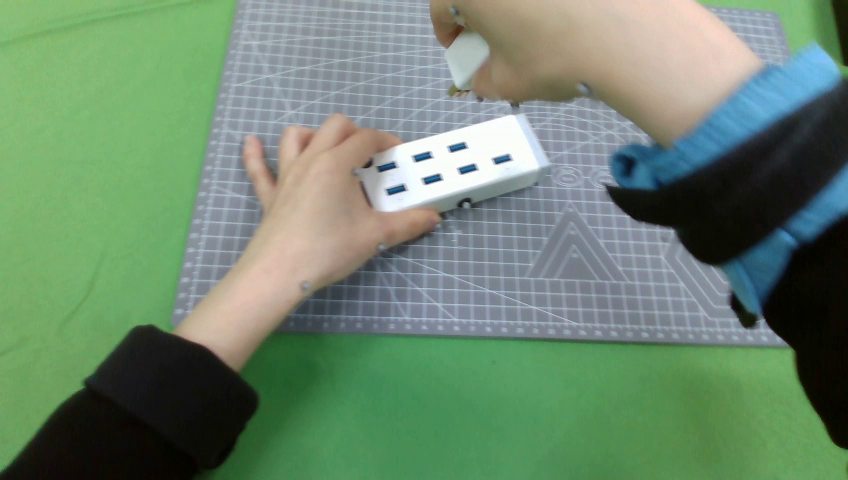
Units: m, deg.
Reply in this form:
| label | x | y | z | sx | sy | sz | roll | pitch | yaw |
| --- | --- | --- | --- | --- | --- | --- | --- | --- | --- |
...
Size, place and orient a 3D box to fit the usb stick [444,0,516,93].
| label | x | y | z | sx | sy | sz | roll | pitch | yaw |
| --- | --- | --- | --- | --- | --- | --- | --- | --- | --- |
| usb stick | 0.028 | -0.104 | 0.336 | 0.021 | 0.059 | 0.027 | 9 | 67 | -20 |

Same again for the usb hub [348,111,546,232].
| label | x | y | z | sx | sy | sz | roll | pitch | yaw |
| --- | --- | --- | --- | --- | --- | --- | --- | --- | --- |
| usb hub | 0.015 | -0.048 | 0.408 | 0.125 | 0.025 | 0.049 | -18 | 67 | -14 |
